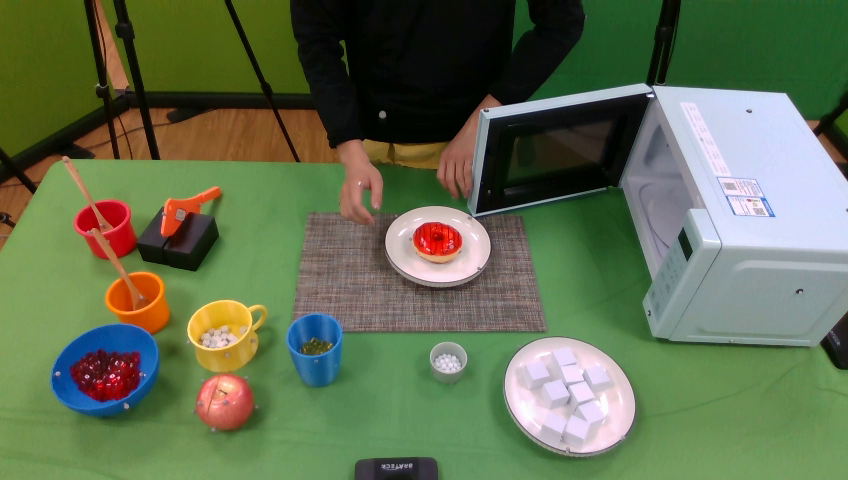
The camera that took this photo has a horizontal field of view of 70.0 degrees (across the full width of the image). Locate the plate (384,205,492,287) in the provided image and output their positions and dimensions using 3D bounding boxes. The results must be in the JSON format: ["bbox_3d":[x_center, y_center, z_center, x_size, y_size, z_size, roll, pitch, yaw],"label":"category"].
[{"bbox_3d":[0.027,0.015,1.169,0.209,0.038,0.208,2,46,-2],"label":"plate"}]

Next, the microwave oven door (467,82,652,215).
[{"bbox_3d":[0.267,-0.181,1.214,0.356,0.245,0.039,-12,49,-15],"label":"microwave oven door"}]

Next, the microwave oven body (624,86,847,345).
[{"bbox_3d":[0.567,-0.053,1.118,0.326,0.261,0.439,2,45,-1],"label":"microwave oven body"}]

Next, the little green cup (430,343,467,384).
[{"bbox_3d":[0.039,0.203,0.994,0.061,0.039,0.061,2,46,-2],"label":"little green cup"}]

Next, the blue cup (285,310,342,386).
[{"bbox_3d":[-0.170,0.179,0.958,0.093,0.101,0.092,1,44,-1],"label":"blue cup"}]

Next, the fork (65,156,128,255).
[{"bbox_3d":[-0.614,-0.064,1.130,0.028,0.018,0.207,-29,96,-16],"label":"fork"}]

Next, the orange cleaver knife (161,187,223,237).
[{"bbox_3d":[-0.448,-0.058,1.180,0.012,0.077,0.211,13,17,6],"label":"orange cleaver knife"}]

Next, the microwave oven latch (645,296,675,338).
[{"bbox_3d":[0.412,0.134,1.061,0.030,0.029,0.078,3,45,0],"label":"microwave oven latch"}]

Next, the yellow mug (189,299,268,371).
[{"bbox_3d":[-0.316,0.148,1.002,0.131,0.064,0.099,-32,56,-32],"label":"yellow mug"}]

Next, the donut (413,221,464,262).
[{"bbox_3d":[0.028,0.002,1.166,0.099,0.048,0.098,3,43,-3],"label":"donut"}]

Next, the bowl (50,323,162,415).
[{"bbox_3d":[-0.472,0.209,0.924,0.151,0.077,0.150,3,45,-2],"label":"bowl"}]

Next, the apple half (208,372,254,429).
[{"bbox_3d":[-0.283,0.244,0.908,0.053,0.075,0.080,7,43,-1],"label":"apple half"}]

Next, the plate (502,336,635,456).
[{"bbox_3d":[0.225,0.248,0.963,0.208,0.039,0.206,2,46,-2],"label":"plate"}]

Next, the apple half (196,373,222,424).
[{"bbox_3d":[-0.322,0.239,0.907,0.033,0.081,0.081,7,46,-1],"label":"apple half"}]

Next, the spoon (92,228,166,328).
[{"bbox_3d":[-0.495,0.063,1.014,0.041,0.194,0.021,-34,12,-31],"label":"spoon"}]
